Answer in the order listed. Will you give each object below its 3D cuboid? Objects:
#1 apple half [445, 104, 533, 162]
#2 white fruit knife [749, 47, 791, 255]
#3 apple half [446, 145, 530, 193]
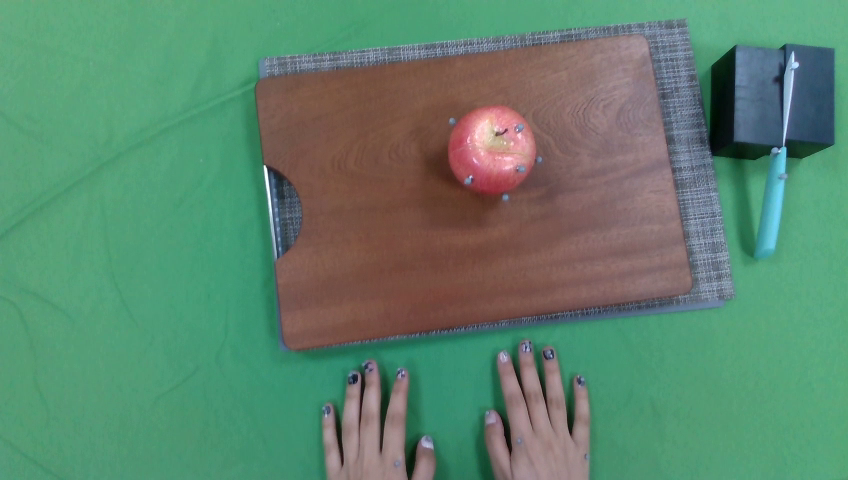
[{"bbox_3d":[0.061,-0.097,0.566,0.081,0.075,0.053,5,78,2],"label":"apple half"},{"bbox_3d":[0.347,-0.086,0.603,0.016,0.027,0.207,3,97,-3],"label":"white fruit knife"},{"bbox_3d":[0.057,-0.059,0.560,0.081,0.081,0.032,6,78,-2],"label":"apple half"}]
